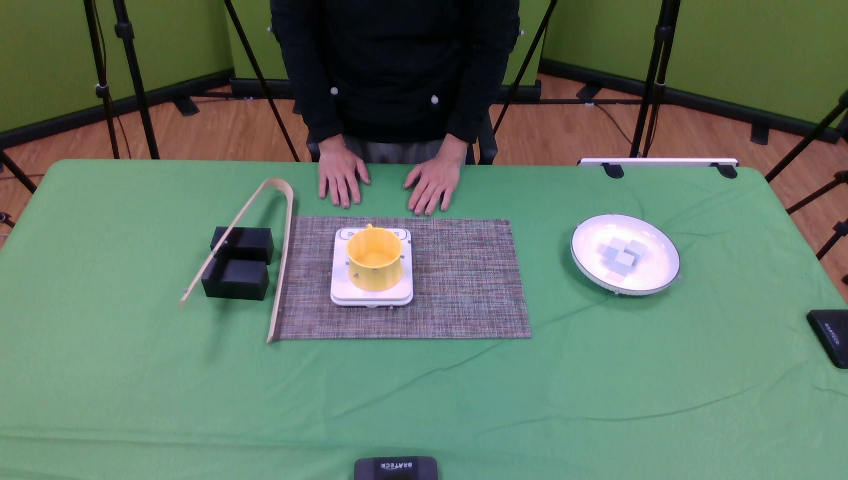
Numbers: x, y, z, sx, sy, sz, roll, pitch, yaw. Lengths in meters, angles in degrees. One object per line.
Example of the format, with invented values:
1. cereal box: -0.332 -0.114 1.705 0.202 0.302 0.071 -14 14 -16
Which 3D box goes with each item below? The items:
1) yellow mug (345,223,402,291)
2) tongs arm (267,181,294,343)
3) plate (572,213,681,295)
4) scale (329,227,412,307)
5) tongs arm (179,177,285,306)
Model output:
1. yellow mug: -0.092 0.022 1.093 0.100 0.064 0.130 -7 46 -10
2. tongs arm: -0.273 0.027 1.144 0.028 0.028 0.385 17 42 -22
3. plate: 0.393 0.030 1.189 0.208 0.039 0.206 2 46 -2
4. scale: -0.099 0.042 1.139 0.149 0.032 0.199 1 46 -4
5. tongs arm: -0.342 -0.008 1.118 0.051 0.026 0.382 29 38 -14
